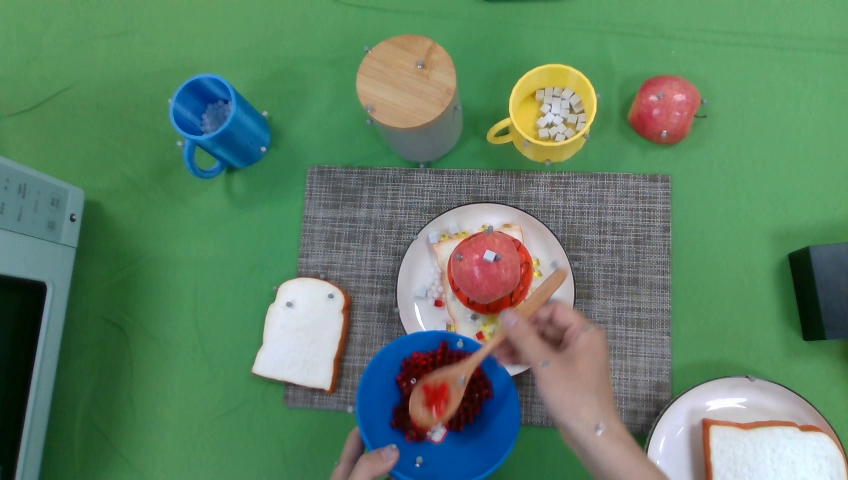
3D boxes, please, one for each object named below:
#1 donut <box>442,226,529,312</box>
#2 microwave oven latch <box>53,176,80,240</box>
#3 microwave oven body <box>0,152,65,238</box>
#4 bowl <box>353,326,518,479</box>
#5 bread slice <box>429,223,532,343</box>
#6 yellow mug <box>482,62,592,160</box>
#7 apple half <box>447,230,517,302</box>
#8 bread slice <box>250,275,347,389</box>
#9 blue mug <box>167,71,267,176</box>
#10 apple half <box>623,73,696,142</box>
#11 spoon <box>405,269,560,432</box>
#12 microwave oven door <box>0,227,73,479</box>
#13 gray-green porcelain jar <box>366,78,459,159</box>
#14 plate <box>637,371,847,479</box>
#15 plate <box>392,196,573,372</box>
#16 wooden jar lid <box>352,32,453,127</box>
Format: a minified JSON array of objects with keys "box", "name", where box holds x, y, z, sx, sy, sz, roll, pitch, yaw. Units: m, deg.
[{"box":[0.069,0.033,0.684,0.099,0.048,0.098,-1,80,8],"name":"donut"},{"box":[-0.466,-0.041,0.776,0.030,0.029,0.079,6,82,8],"name":"microwave oven latch"},{"box":[-0.637,0.109,0.673,0.325,0.261,0.440,3,81,7],"name":"microwave oven body"},{"box":[0.007,0.166,0.573,0.151,0.077,0.150,5,52,-5],"name":"bowl"},{"box":[0.073,0.052,0.711,0.107,0.018,0.133,-14,78,5],"name":"bread slice"},{"box":[0.132,-0.147,0.726,0.131,0.064,0.099,-20,78,4],"name":"yellow mug"},{"box":[0.062,0.026,0.649,0.081,0.033,0.081,-3,76,13],"name":"apple half"},{"box":[-0.151,0.107,0.738,0.105,0.019,0.131,10,83,8],"name":"bread slice"},{"box":[-0.261,-0.134,0.751,0.082,0.106,0.116,23,84,11],"name":"blue mug"},{"box":[0.280,-0.163,0.716,0.074,0.053,0.080,25,84,13],"name":"apple half"},{"box":[0.053,0.098,0.536,0.041,0.022,0.194,45,104,13],"name":"spoon"},{"box":[-0.496,0.157,0.642,0.039,0.245,0.354,2,80,8],"name":"microwave oven door"},{"box":[-0.013,-0.159,0.715,0.106,0.127,0.105,-1,79,7],"name":"gray-green porcelain jar"},{"box":[0.333,0.245,0.646,0.209,0.038,0.208,-1,80,8],"name":"plate"},{"box":[0.067,0.053,0.709,0.207,0.039,0.207,-1,80,7],"name":"plate"},{"box":[-0.022,-0.171,0.653,0.108,0.021,0.108,-1,78,5],"name":"wooden jar lid"}]
